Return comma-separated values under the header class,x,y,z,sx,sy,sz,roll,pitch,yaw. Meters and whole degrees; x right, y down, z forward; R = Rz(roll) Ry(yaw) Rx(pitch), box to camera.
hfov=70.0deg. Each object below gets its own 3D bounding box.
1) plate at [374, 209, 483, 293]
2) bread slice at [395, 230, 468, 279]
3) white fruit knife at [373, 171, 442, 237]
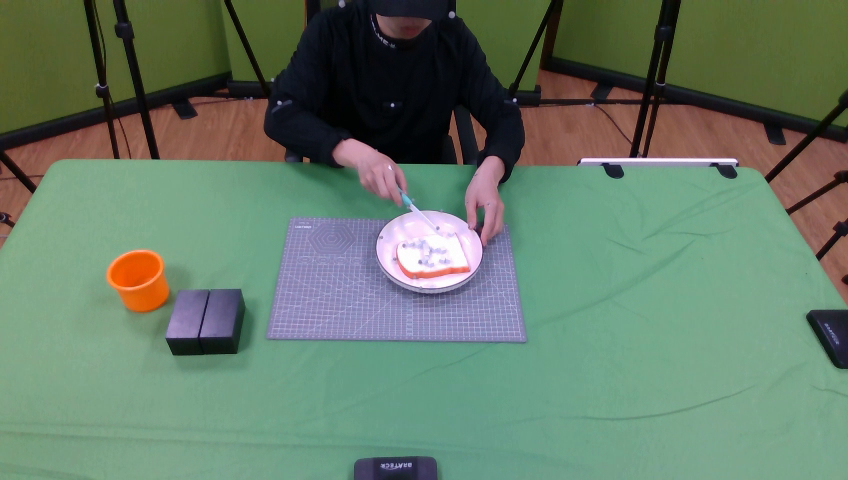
class,x,y,z,sx,sy,sz,roll,pitch,yaw
plate,0.009,0.024,1.160,0.209,0.038,0.208,2,46,-2
bread slice,0.011,0.029,1.158,0.132,0.019,0.104,-9,48,-14
white fruit knife,-0.033,-0.073,1.174,0.016,0.027,0.206,-37,64,-20
